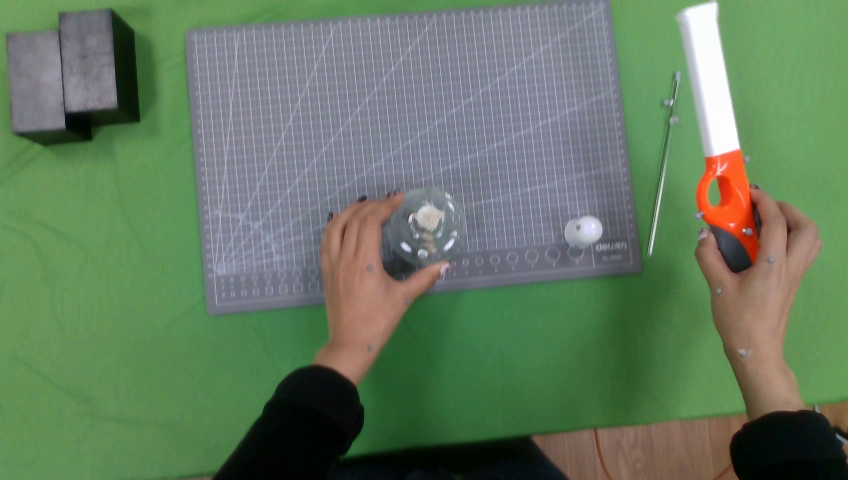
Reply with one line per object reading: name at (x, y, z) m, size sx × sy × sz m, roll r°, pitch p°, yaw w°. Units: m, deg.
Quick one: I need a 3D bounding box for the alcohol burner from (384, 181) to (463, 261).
alcohol burner at (0.000, -0.021, 0.574) m, size 0.078 × 0.119 × 0.077 m, roll 0°, pitch 84°, yaw -2°

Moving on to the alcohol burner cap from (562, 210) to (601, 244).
alcohol burner cap at (0.162, -0.014, 0.616) m, size 0.034 × 0.048 × 0.034 m, roll 0°, pitch 85°, yaw -2°

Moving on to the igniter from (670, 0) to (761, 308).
igniter at (0.260, -0.071, 0.536) m, size 0.057 × 0.025 × 0.277 m, roll -17°, pitch 101°, yaw -6°

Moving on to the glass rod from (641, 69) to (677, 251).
glass rod at (0.250, -0.086, 0.644) m, size 0.008 × 0.008 × 0.199 m, roll 11°, pitch 86°, yaw -2°
